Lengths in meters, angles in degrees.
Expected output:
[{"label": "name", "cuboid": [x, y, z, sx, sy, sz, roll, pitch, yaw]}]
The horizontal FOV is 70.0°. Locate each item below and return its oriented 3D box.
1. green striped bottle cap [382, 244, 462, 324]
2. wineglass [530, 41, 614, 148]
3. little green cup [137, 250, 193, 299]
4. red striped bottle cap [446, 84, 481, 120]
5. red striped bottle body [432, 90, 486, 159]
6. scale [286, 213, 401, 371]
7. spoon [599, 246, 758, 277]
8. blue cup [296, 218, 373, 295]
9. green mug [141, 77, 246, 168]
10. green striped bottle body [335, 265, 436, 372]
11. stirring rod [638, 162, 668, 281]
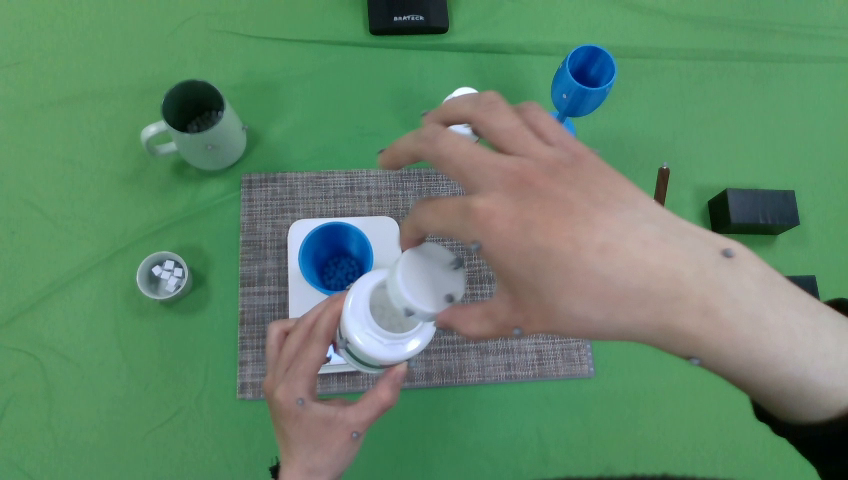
[{"label": "green striped bottle cap", "cuboid": [-0.001, 0.025, 0.349, 0.044, 0.020, 0.044, 9, 57, -13]}, {"label": "wineglass", "cuboid": [0.192, -0.188, 0.807, 0.074, 0.173, 0.073, 1, 74, -3]}, {"label": "little green cup", "cuboid": [-0.326, 0.046, 0.769, 0.061, 0.039, 0.061, 2, 74, -6]}, {"label": "red striped bottle cap", "cuboid": [0.050, -0.174, 0.763, 0.044, 0.018, 0.044, 1, 72, -3]}, {"label": "red striped bottle body", "cuboid": [0.047, -0.160, 0.815, 0.063, 0.120, 0.062, 1, 74, -4]}, {"label": "scale", "cuboid": [-0.101, 0.063, 0.783, 0.149, 0.032, 0.200, -3, 75, -5]}, {"label": "spoon", "cuboid": [0.316, 0.030, 0.770, 0.022, 0.192, 0.041, 20, 77, -44]}, {"label": "blue cup", "cuboid": [-0.103, 0.028, 0.725, 0.093, 0.100, 0.092, 1, 76, -4]}, {"label": "green mug", "cuboid": [-0.303, -0.145, 0.790, 0.125, 0.105, 0.092, -24, 78, -10]}, {"label": "green striped bottle body", "cuboid": [-0.028, 0.056, 0.424, 0.063, 0.119, 0.063, 3, 72, -11]}, {"label": "stirring rod", "cuboid": [0.294, -0.019, 0.782, 0.014, 0.177, 0.006, 2, 33, 9]}]
